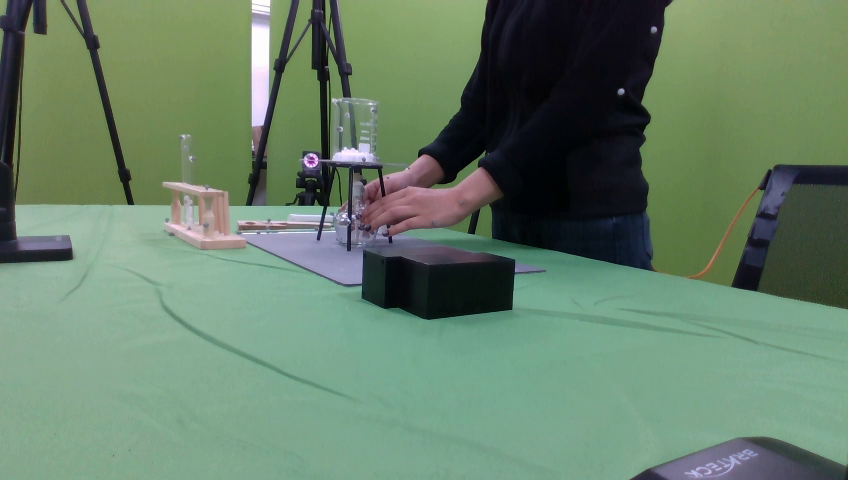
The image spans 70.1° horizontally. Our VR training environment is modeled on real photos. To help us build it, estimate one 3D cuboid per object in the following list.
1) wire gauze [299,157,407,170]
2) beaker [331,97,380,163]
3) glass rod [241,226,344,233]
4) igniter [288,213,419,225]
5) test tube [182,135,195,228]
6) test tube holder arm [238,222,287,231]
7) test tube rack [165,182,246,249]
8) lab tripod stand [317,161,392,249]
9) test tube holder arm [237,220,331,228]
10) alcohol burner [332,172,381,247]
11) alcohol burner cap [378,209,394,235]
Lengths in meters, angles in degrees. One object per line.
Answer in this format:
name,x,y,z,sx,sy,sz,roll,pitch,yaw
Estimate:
wire gauze,-0.112,-0.124,0.959,0.121,0.011,0.126,13,12,40
beaker,-0.111,-0.171,0.950,0.073,0.100,0.084,12,12,42
glass rod,-0.239,-0.019,1.119,0.201,0.008,0.008,-3,9,-33
igniter,-0.145,-0.044,1.278,0.278,0.025,0.057,-1,-2,-21
test tube,-0.382,-0.095,0.983,0.017,0.150,0.017,-1,2,0
test tube holder arm,-0.297,-0.024,1.113,0.088,0.015,0.010,-1,42,-32
test tube rack,-0.360,-0.045,0.982,0.067,0.085,0.241,-3,9,-34
lab tripod stand,-0.111,-0.059,0.963,0.148,0.131,0.148,4,8,0
test tube holder arm,-0.261,-0.029,1.141,0.179,0.015,0.013,-2,42,-33
alcohol burner,-0.107,-0.048,0.961,0.078,0.119,0.078,1,9,0
alcohol burner cap,-0.072,-0.035,1.145,0.034,0.048,0.034,3,8,0
